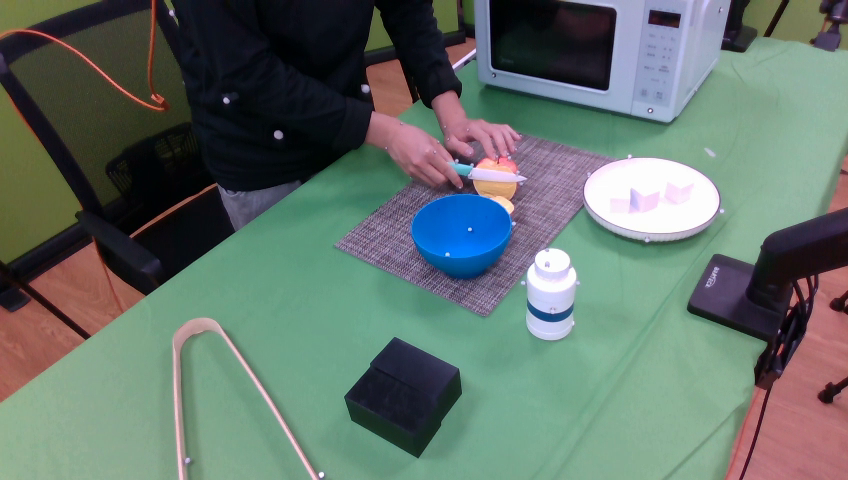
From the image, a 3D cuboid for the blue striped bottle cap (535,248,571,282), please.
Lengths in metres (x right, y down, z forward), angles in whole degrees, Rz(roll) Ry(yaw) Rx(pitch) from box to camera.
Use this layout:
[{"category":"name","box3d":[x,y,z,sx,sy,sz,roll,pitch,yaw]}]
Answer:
[{"category":"blue striped bottle cap","box3d":[0.161,0.031,0.753,0.044,0.021,0.044,-4,42,4]}]

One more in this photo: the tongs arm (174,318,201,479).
[{"category":"tongs arm","box3d":[-0.272,0.234,0.723,0.051,0.026,0.381,-19,40,-14]}]

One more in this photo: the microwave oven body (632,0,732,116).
[{"category":"microwave oven body","box3d":[0.377,-0.463,1.267,0.438,0.261,0.327,21,49,30]}]

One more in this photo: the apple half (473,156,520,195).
[{"category":"apple half","box3d":[0.129,-0.109,1.033,0.080,0.075,0.053,8,35,24]}]

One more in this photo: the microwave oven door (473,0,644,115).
[{"category":"microwave oven door","box3d":[0.257,-0.396,1.199,0.353,0.245,0.039,21,48,29]}]

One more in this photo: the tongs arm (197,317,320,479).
[{"category":"tongs arm","box3d":[-0.200,0.207,0.750,0.028,0.028,0.384,-31,45,-22]}]

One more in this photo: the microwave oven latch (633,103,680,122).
[{"category":"microwave oven latch","box3d":[0.444,-0.249,1.158,0.078,0.029,0.030,21,49,30]}]

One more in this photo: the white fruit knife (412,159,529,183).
[{"category":"white fruit knife","box3d":[0.075,-0.115,1.017,0.206,0.027,0.016,9,38,19]}]

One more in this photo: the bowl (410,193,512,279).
[{"category":"bowl","box3d":[0.058,0.005,0.905,0.151,0.077,0.150,-4,40,4]}]

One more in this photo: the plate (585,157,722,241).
[{"category":"plate","box3d":[0.367,-0.063,0.979,0.207,0.039,0.206,-4,40,4]}]

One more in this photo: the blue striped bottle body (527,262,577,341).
[{"category":"blue striped bottle body","box3d":[0.165,0.070,0.786,0.063,0.121,0.063,-4,41,4]}]

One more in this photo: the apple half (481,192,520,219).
[{"category":"apple half","box3d":[0.117,-0.048,0.983,0.081,0.033,0.081,-3,34,3]}]
